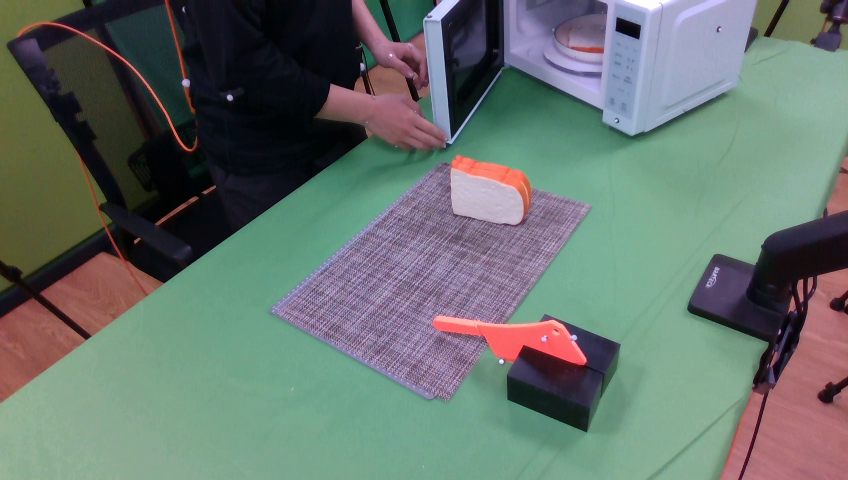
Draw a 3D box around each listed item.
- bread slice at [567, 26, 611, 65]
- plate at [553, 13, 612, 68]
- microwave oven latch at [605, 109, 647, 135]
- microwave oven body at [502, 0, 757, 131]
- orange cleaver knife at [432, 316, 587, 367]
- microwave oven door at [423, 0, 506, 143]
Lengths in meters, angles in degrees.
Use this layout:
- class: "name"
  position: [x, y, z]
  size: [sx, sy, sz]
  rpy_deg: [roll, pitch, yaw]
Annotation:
- class: "bread slice"
  position: [0.363, -0.427, 1.327]
  size: [0.107, 0.018, 0.133]
  rpy_deg: [1, 51, 4]
- class: "plate"
  position: [0.385, -0.428, 1.315]
  size: [0.207, 0.039, 0.206]
  rpy_deg: [-2, 46, 3]
- class: "microwave oven latch"
  position: [0.379, -0.225, 1.139]
  size: [0.030, 0.029, 0.078]
  rpy_deg: [-26, 43, -19]
- class: "microwave oven body"
  position: [0.396, -0.448, 1.248]
  size: [0.327, 0.261, 0.437]
  rpy_deg: [-27, 44, -21]
- class: "orange cleaver knife"
  position: [0.101, 0.127, 0.761]
  size: [0.210, 0.077, 0.012]
  rpy_deg: [-1, 34, 40]
- class: "microwave oven door"
  position: [0.093, -0.392, 1.218]
  size: [0.039, 0.245, 0.356]
  rpy_deg: [11, 44, 21]
